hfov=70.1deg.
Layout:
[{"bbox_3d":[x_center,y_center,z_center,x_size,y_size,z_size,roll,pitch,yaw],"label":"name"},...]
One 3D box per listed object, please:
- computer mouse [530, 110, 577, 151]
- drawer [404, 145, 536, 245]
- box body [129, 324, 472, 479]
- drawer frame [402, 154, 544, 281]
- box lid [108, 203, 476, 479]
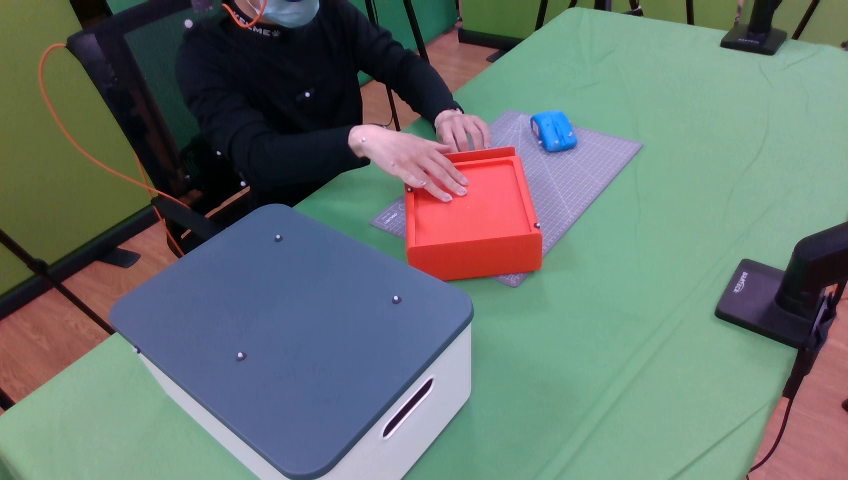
[{"bbox_3d":[0.250,-0.216,1.173,0.063,0.041,0.116,-10,45,-6],"label":"computer mouse"},{"bbox_3d":[0.069,-0.062,0.986,0.194,0.073,0.210,-6,41,1],"label":"drawer"},{"bbox_3d":[-0.147,0.136,0.726,0.361,0.161,0.255,25,50,32],"label":"box body"},{"bbox_3d":[0.071,-0.040,0.959,0.202,0.083,0.212,-6,41,1],"label":"drawer frame"},{"bbox_3d":[-0.156,0.079,0.678,0.368,0.015,0.264,24,49,32],"label":"box lid"}]
